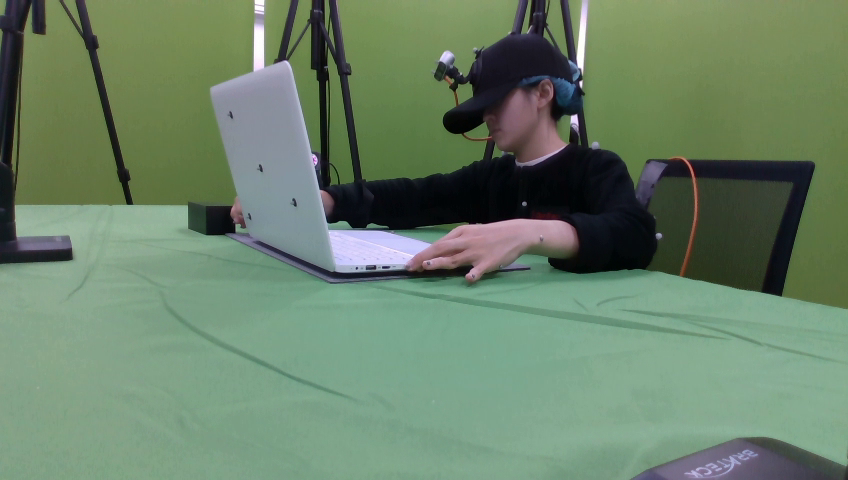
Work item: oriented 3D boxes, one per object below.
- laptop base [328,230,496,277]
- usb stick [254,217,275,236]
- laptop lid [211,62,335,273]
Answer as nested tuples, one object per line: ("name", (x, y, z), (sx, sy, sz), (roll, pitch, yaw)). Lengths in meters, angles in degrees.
("laptop base", (-0.091, 0.017, 0.884), (0.237, 0.023, 0.352), (2, 7, -32))
("usb stick", (-0.264, -0.022, 1.004), (0.021, 0.027, 0.059), (-4, 15, -34))
("laptop lid", (-0.211, -0.095, 0.791), (0.013, 0.241, 0.355), (-18, 18, -29))
